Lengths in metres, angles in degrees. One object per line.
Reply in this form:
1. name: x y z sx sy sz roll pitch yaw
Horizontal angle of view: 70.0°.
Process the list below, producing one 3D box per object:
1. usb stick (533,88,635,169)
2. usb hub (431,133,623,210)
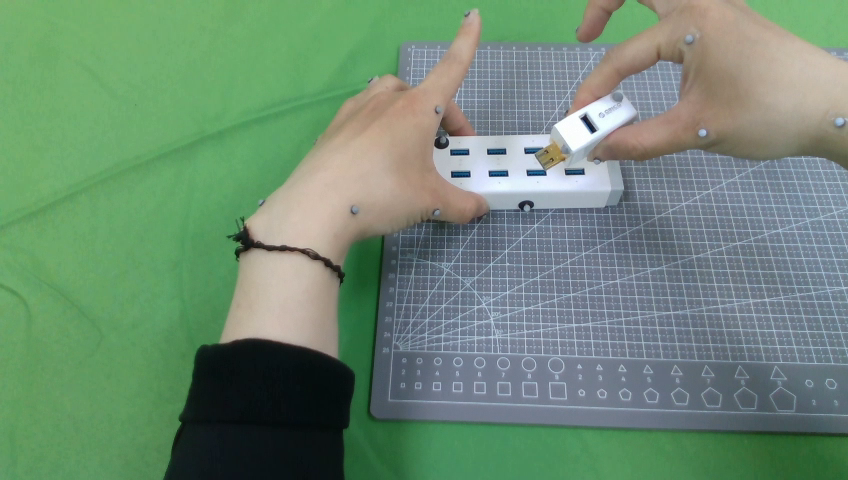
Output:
1. usb stick: 0.092 -0.063 0.356 0.059 0.027 0.021 -31 75 1
2. usb hub: 0.067 -0.047 0.411 0.125 0.025 0.049 -1 61 1
